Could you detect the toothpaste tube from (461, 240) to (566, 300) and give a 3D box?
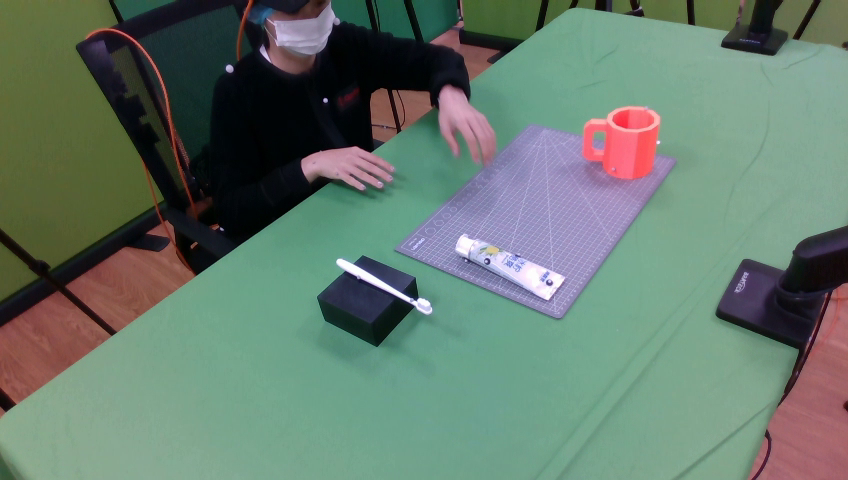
[{"bbox_3d":[0.125,0.040,0.900,0.164,0.035,0.055,23,55,27],"label":"toothpaste tube"}]

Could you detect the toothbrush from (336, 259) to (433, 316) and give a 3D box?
[{"bbox_3d":[-0.059,0.062,0.839,0.180,0.017,0.014,24,54,33],"label":"toothbrush"}]

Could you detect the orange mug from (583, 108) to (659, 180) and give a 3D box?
[{"bbox_3d":[0.343,-0.171,1.061,0.126,0.101,0.083,10,43,15],"label":"orange mug"}]

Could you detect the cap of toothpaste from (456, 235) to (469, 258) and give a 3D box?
[{"bbox_3d":[0.062,0.010,0.936,0.011,0.037,0.037,23,49,27],"label":"cap of toothpaste"}]
